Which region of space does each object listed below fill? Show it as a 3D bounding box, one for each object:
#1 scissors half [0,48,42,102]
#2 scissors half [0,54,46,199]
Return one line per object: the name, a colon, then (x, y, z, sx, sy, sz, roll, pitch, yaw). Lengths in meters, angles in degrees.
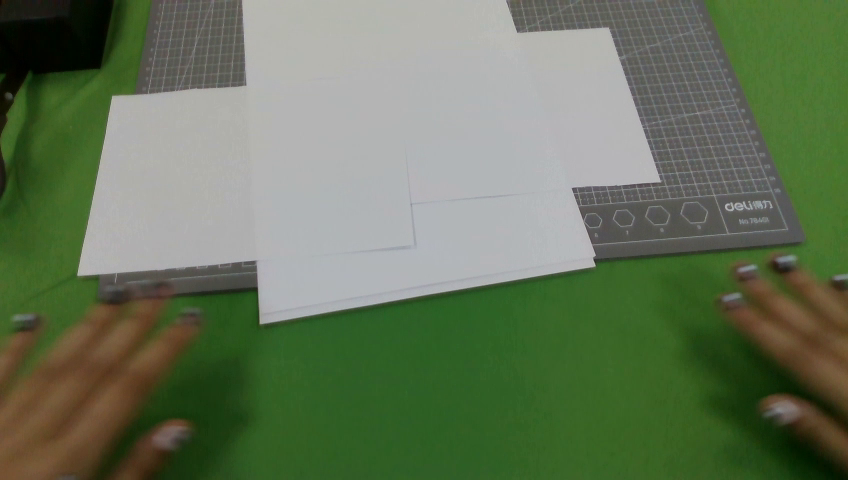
scissors half: (-0.295, -0.095, 0.411, 0.013, 0.040, 0.173, -4, 37, -3)
scissors half: (-0.294, -0.082, 0.425, 0.013, 0.040, 0.173, -8, 51, 1)
